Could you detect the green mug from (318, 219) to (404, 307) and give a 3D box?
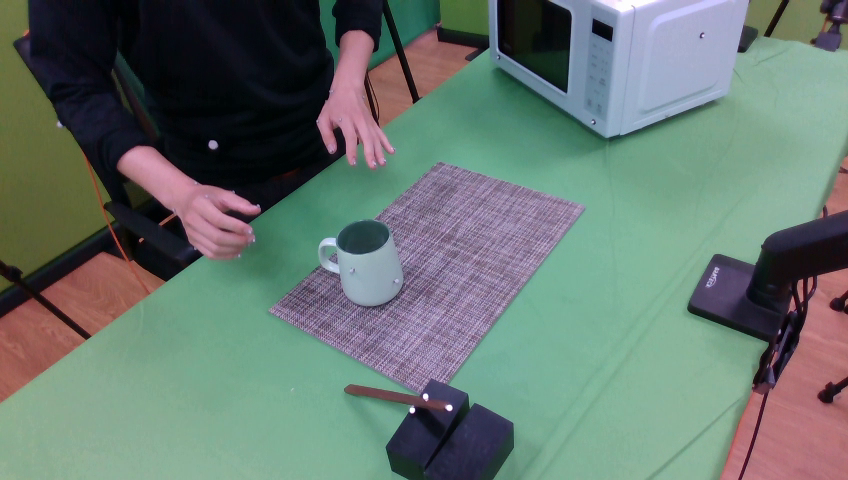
[{"bbox_3d":[-0.096,0.032,0.876,0.125,0.105,0.092,8,43,17],"label":"green mug"}]

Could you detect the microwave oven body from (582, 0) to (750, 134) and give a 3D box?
[{"bbox_3d":[0.382,-0.445,1.246,0.327,0.261,0.437,-22,42,-16],"label":"microwave oven body"}]

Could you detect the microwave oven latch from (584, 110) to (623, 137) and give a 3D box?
[{"bbox_3d":[0.337,-0.222,1.142,0.030,0.029,0.078,-21,42,-14],"label":"microwave oven latch"}]

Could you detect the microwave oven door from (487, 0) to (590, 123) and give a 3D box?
[{"bbox_3d":[0.232,-0.420,1.230,0.039,0.245,0.352,-22,43,-16],"label":"microwave oven door"}]

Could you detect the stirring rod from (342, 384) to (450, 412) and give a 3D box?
[{"bbox_3d":[-0.038,0.186,0.714,0.175,0.006,0.014,-3,22,43],"label":"stirring rod"}]
